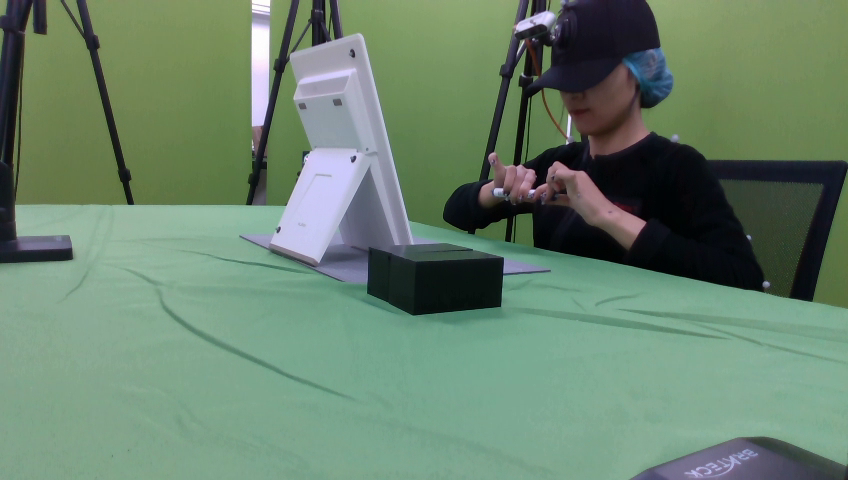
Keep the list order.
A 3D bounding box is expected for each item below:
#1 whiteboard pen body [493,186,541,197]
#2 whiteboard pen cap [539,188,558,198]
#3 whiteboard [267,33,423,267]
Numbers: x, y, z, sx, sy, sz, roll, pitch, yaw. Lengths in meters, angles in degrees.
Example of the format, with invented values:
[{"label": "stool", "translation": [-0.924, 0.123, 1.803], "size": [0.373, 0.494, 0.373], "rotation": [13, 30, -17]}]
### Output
[{"label": "whiteboard pen body", "translation": [0.176, -0.085, 1.068], "size": [0.017, 0.017, 0.140], "rotation": [-4, 8, -39]}, {"label": "whiteboard pen cap", "translation": [0.210, -0.080, 1.019], "size": [0.018, 0.018, 0.033], "rotation": [-1, 4, -25]}, {"label": "whiteboard", "translation": [-0.153, -0.098, 0.819], "size": [0.144, 0.305, 0.216], "rotation": [-25, 21, -29]}]
